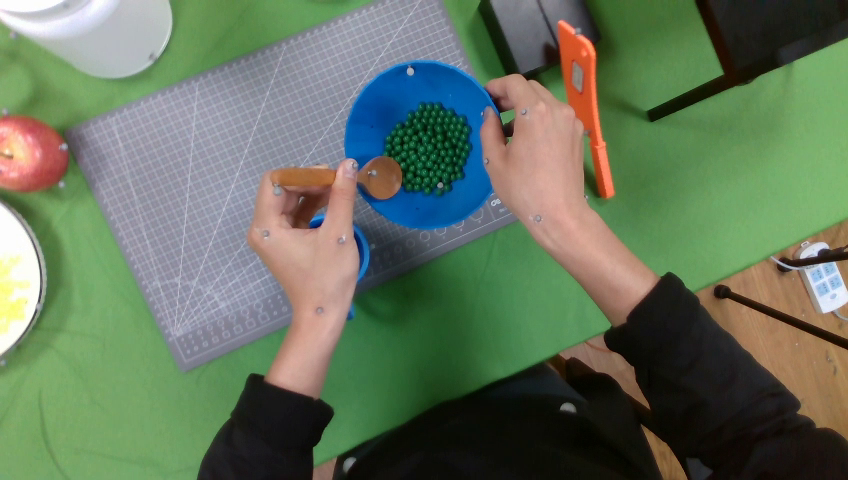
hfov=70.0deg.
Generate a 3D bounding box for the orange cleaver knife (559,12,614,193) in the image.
[{"bbox_3d":[0.185,-0.151,0.688,0.012,0.076,0.213,-25,125,-6],"label":"orange cleaver knife"}]

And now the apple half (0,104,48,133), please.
[{"bbox_3d":[-0.433,-0.119,0.627,0.081,0.081,0.033,-39,100,-4],"label":"apple half"}]

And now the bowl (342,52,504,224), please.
[{"bbox_3d":[0.007,-0.096,0.570,0.151,0.077,0.152,4,105,16],"label":"bowl"}]

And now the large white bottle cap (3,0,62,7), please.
[{"bbox_3d":[-0.326,-0.251,0.495,0.115,0.018,0.115,0,92,-6],"label":"large white bottle cap"}]

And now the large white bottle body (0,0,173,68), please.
[{"bbox_3d":[-0.334,-0.252,0.579,0.131,0.184,0.130,0,91,-6],"label":"large white bottle body"}]

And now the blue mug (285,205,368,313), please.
[{"bbox_3d":[-0.097,0.022,0.651,0.082,0.105,0.116,-16,93,-5],"label":"blue mug"}]

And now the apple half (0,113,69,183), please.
[{"bbox_3d":[-0.409,-0.088,0.632,0.081,0.074,0.053,-39,99,-7],"label":"apple half"}]

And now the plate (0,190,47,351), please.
[{"bbox_3d":[-0.507,0.030,0.642,0.209,0.038,0.209,0,92,-6],"label":"plate"}]

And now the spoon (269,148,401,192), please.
[{"bbox_3d":[-0.065,-0.058,0.500,0.021,0.194,0.042,8,99,19],"label":"spoon"}]
